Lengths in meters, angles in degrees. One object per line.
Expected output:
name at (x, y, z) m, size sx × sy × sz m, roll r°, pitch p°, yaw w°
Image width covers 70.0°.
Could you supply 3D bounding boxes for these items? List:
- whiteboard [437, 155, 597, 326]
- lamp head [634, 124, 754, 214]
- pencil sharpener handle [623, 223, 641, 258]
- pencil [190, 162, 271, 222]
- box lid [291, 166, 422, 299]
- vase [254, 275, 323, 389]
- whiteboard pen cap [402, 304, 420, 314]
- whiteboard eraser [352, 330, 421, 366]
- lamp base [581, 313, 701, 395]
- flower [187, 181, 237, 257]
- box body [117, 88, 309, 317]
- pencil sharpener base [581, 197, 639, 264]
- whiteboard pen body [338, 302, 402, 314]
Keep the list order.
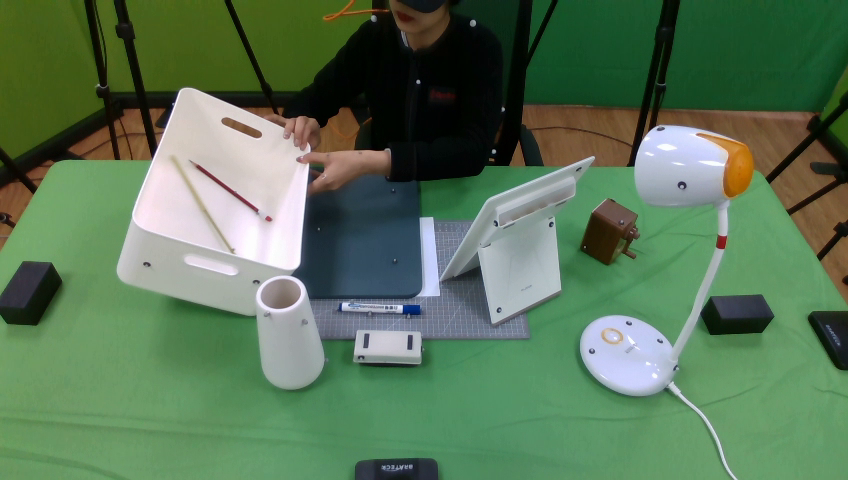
whiteboard at (0.180, 0.023, 1.029) m, size 0.217 × 0.306 × 0.143 m, roll -21°, pitch 71°, yaw -23°
lamp head at (0.351, -0.089, 0.776) m, size 0.112 × 0.113 × 0.122 m, roll -30°, pitch 30°, yaw -28°
pencil sharpener handle at (0.399, 0.002, 1.146) m, size 0.030 × 0.068 × 0.036 m, roll 35°, pitch 45°, yaw 26°
pencil at (-0.387, -0.097, 1.210) m, size 0.194 × 0.012 × 0.012 m, roll 37°, pitch 50°, yaw -5°
box lid at (-0.139, -0.029, 1.220) m, size 0.263 × 0.015 × 0.369 m, roll 1°, pitch 46°, yaw -4°
vase at (-0.209, 0.143, 0.921) m, size 0.098 × 0.201 × 0.097 m, roll 1°, pitch 46°, yaw -1°
whiteboard pen cap at (-0.024, 0.123, 1.076) m, size 0.033 × 0.018 × 0.018 m, roll 1°, pitch 46°, yaw 1°
whiteboard eraser at (-0.061, 0.180, 1.005) m, size 0.113 × 0.042 × 0.055 m, roll 3°, pitch 48°, yaw -3°
lamp base at (0.361, 0.144, 0.973) m, size 0.178 × 0.181 × 0.160 m, roll 34°, pitch 53°, yaw 23°
flower at (-0.388, -0.027, 1.126) m, size 0.044 × 0.038 × 0.360 m, roll -44°, pitch 69°, yaw 11°
box body at (-0.362, -0.065, 1.075) m, size 0.255 × 0.160 × 0.361 m, roll 21°, pitch 41°, yaw -27°
pencil sharpener base at (0.362, -0.016, 1.178) m, size 0.076 × 0.107 × 0.061 m, roll 35°, pitch 53°, yaw 26°
whiteboard pen body at (-0.083, 0.121, 1.074) m, size 0.141 × 0.017 × 0.017 m, roll 3°, pitch 46°, yaw -2°
